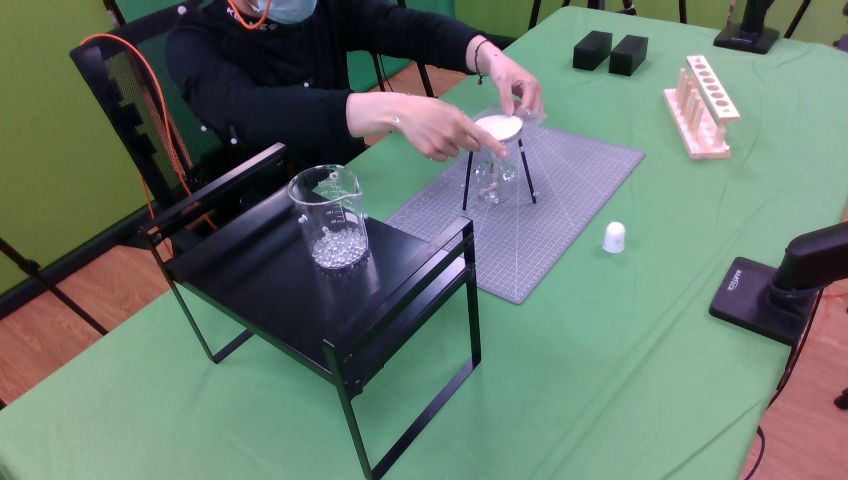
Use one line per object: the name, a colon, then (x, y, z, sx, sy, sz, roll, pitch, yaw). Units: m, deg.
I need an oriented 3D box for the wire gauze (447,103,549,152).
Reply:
wire gauze: (0.118, -0.187, 0.971, 0.122, 0.011, 0.124, -34, 42, -28)

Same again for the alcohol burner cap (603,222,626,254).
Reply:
alcohol burner cap: (0.291, -0.006, 0.921, 0.034, 0.048, 0.033, -4, 40, 4)

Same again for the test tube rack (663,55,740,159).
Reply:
test tube rack: (0.518, -0.256, 1.144, 0.066, 0.085, 0.241, -1, 41, 8)

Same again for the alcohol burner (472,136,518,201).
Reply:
alcohol burner: (0.121, -0.125, 1.023, 0.078, 0.119, 0.077, -3, 41, 3)

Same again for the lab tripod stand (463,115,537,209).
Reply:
lab tripod stand: (0.120, -0.134, 1.018, 0.148, 0.132, 0.147, -5, 39, 5)

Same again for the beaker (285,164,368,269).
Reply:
beaker: (-0.101, -0.024, 0.676, 0.083, 0.101, 0.074, 8, 43, 17)
